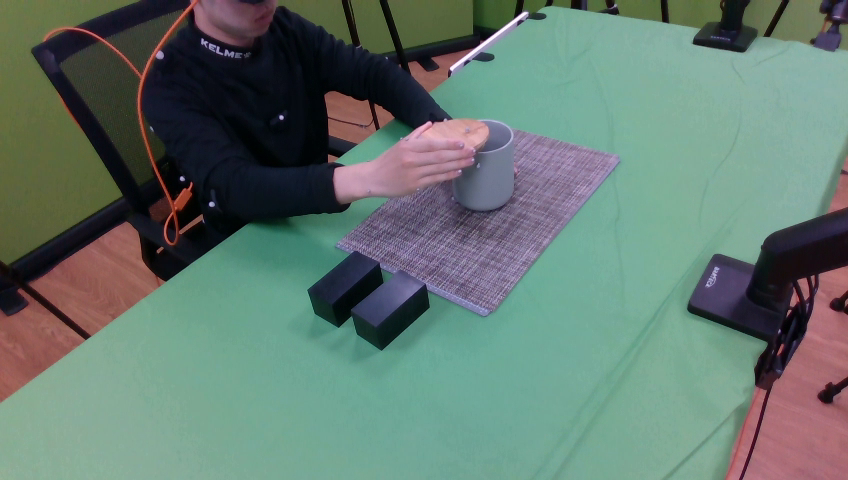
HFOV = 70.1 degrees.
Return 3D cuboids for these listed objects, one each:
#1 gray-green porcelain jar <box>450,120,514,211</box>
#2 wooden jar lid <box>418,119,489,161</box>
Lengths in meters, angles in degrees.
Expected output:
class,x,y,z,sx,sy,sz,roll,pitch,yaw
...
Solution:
class,x,y,z,sx,sy,sz,roll,pitch,yaw
gray-green porcelain jar,0.097,-0.120,1.009,0.106,0.127,0.105,-4,41,4
wooden jar lid,0.045,-0.149,0.905,0.108,0.021,0.108,-9,36,7
